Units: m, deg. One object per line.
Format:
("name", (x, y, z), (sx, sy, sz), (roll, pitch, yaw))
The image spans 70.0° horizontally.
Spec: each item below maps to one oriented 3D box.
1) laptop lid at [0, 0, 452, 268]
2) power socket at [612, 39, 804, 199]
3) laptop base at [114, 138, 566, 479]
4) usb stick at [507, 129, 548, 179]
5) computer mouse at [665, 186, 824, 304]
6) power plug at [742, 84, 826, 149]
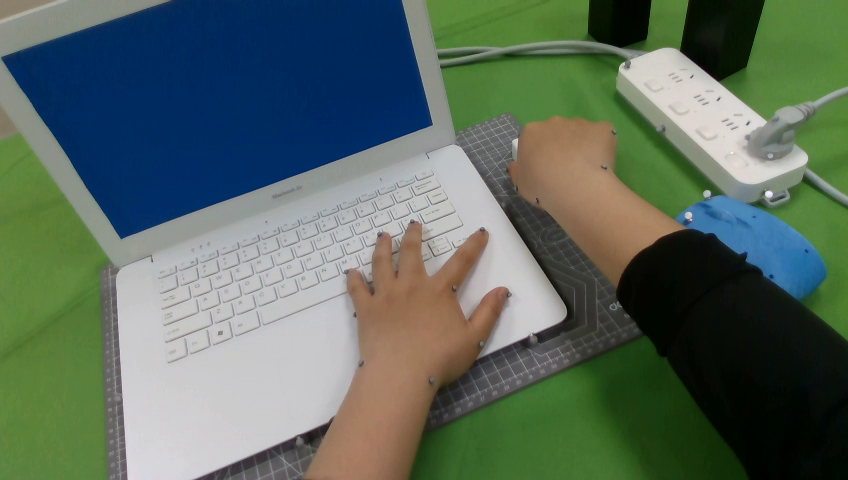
("laptop lid", (-0.159, -0.125, 0.529), (0.357, 0.244, 0.013), (-24, 38, -6))
("power socket", (0.264, -0.124, 0.585), (0.072, 0.033, 0.224), (-22, 50, -6))
("laptop base", (-0.087, 0.045, 0.527), (0.354, 0.023, 0.233), (-22, 54, -7))
("usb stick", (0.098, -0.088, 0.591), (0.021, 0.027, 0.058), (-17, 47, -10))
("computer mouse", (0.252, -0.003, 0.484), (0.063, 0.041, 0.116), (-28, 46, -9))
("power plug", (0.314, -0.098, 0.525), (0.072, 0.053, 0.035), (-14, 52, 0))
